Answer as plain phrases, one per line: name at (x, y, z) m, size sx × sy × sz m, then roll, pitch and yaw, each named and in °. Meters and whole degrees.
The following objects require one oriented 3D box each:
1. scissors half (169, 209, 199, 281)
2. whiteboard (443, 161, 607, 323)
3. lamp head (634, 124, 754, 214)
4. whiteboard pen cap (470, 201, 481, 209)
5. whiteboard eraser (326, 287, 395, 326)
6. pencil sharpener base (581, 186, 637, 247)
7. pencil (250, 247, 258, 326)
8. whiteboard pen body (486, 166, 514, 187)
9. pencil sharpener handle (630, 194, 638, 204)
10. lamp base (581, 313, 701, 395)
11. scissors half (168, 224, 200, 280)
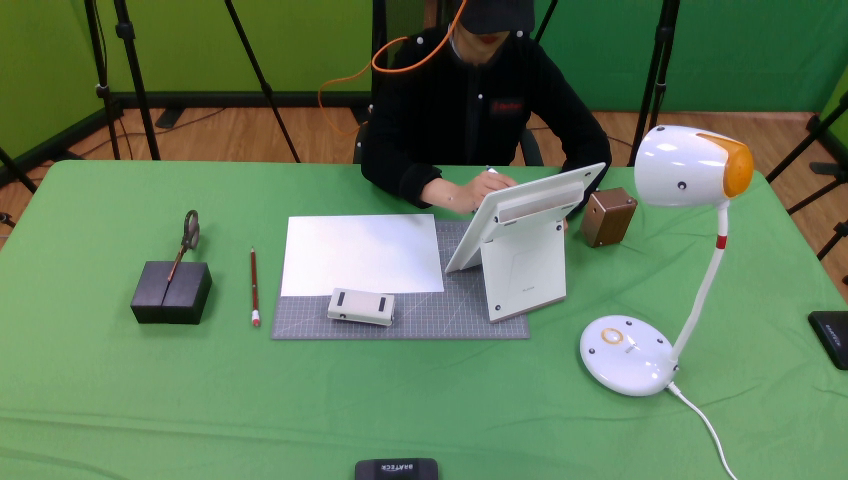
scissors half at (-0.438, 0.007, 1.098) m, size 0.013 × 0.040 × 0.174 m, roll 3°, pitch 48°, yaw -3°
whiteboard at (0.185, 0.025, 1.029) m, size 0.217 × 0.306 × 0.143 m, roll -15°, pitch 68°, yaw -18°
lamp head at (0.351, -0.089, 0.776) m, size 0.112 × 0.113 × 0.122 m, roll -30°, pitch 30°, yaw -28°
whiteboard pen cap at (0.113, -0.073, 1.280) m, size 0.033 × 0.018 × 0.018 m, roll 4°, pitch 46°, yaw 6°
whiteboard eraser at (-0.110, 0.118, 1.057) m, size 0.113 × 0.042 × 0.055 m, roll 7°, pitch 45°, yaw 2°
pencil sharpener base at (0.369, -0.047, 1.209) m, size 0.077 × 0.107 × 0.061 m, roll -11°, pitch 47°, yaw -14°
pencil at (-0.312, 0.079, 1.107) m, size 0.012 × 0.012 × 0.192 m, roll -7°, pitch 46°, yaw -11°
whiteboard pen body at (0.162, -0.090, 1.095) m, size 0.017 × 0.017 × 0.140 m, roll -28°, pitch 56°, yaw -27°
pencil sharpener handle at (0.417, -0.068, 1.215) m, size 0.031 × 0.068 × 0.036 m, roll -11°, pitch 61°, yaw -14°
lamp base at (0.361, 0.144, 0.973) m, size 0.178 × 0.181 × 0.160 m, roll 34°, pitch 53°, yaw 23°
scissors half at (-0.440, 0.023, 1.111) m, size 0.013 × 0.040 × 0.174 m, roll 7°, pitch 29°, yaw -6°
